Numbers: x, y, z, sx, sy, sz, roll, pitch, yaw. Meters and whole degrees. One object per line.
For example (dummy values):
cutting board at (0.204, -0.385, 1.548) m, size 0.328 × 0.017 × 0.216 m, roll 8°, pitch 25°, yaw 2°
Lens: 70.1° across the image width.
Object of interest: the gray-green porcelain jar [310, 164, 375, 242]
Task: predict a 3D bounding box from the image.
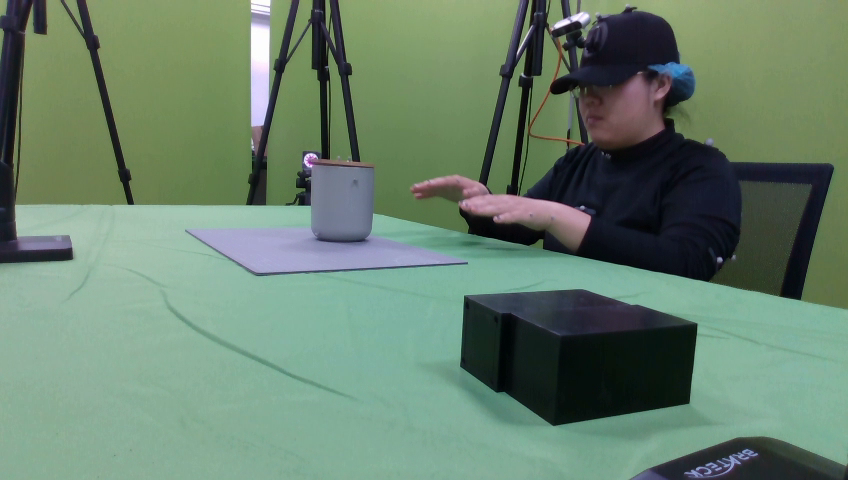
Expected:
gray-green porcelain jar at (-0.139, -0.064, 1.025) m, size 0.106 × 0.126 × 0.106 m, roll 3°, pitch 8°, yaw 0°

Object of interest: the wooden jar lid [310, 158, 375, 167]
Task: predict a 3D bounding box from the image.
wooden jar lid at (-0.137, -0.125, 1.017) m, size 0.108 × 0.020 × 0.108 m, roll 4°, pitch 8°, yaw 0°
